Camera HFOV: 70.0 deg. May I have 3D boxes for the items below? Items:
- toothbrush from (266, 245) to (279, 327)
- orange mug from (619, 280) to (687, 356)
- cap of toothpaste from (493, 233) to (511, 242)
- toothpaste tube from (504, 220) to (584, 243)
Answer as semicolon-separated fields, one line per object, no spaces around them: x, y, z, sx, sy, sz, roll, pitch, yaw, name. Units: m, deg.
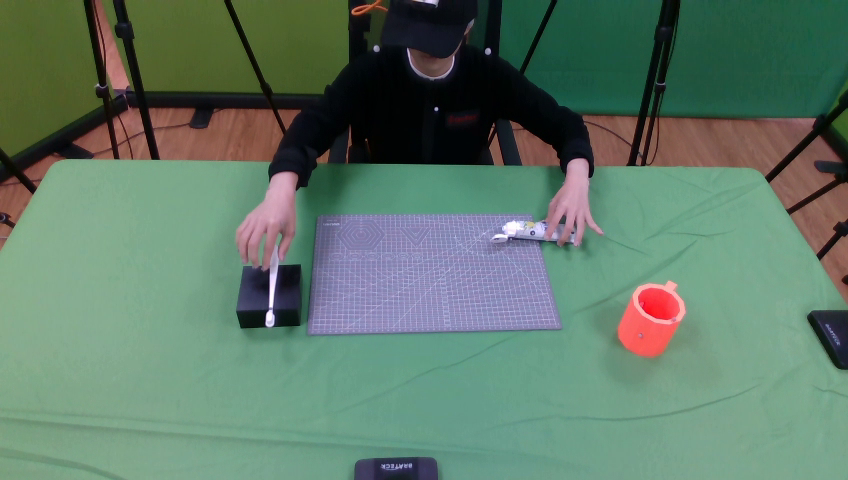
-0.261;0.073;1.042;0.014;0.017;0.180;-6;46;-3;toothbrush
0.401;0.125;1.045;0.083;0.101;0.126;30;56;24;orange mug
0.153;-0.006;1.196;0.037;0.037;0.011;-3;73;-7;cap of toothpaste
0.240;-0.018;1.222;0.165;0.034;0.054;3;49;-13;toothpaste tube
